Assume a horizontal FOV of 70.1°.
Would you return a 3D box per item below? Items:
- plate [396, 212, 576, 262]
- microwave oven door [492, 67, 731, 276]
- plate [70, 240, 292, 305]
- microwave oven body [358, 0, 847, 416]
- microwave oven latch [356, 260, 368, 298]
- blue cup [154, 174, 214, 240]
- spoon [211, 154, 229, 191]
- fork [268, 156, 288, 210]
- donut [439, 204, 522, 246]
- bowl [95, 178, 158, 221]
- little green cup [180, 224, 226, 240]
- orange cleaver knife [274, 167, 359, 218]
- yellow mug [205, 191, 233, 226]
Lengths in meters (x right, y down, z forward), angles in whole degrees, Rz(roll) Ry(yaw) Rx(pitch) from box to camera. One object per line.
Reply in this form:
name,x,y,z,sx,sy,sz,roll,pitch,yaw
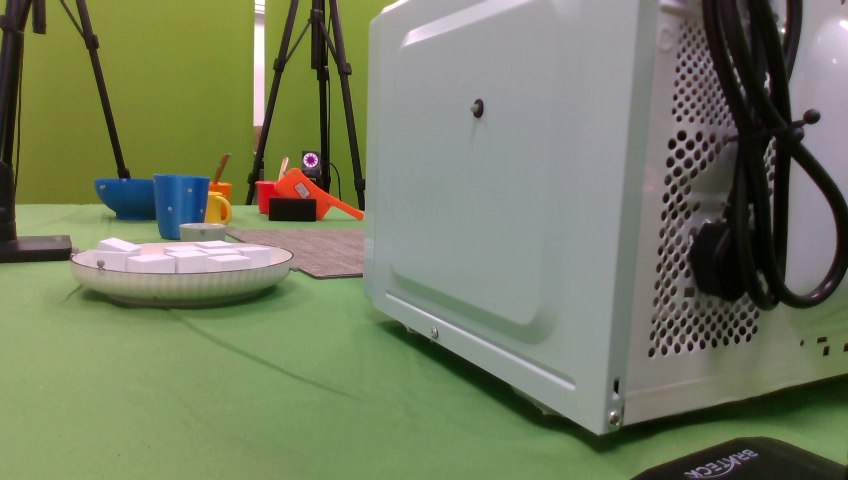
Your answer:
plate,0.070,-0.004,0.705,0.209,0.038,0.209,5,6,0
microwave oven door,0.232,-0.098,0.835,0.039,0.243,0.354,-3,9,-36
plate,-0.242,0.031,0.618,0.208,0.039,0.207,2,8,0
microwave oven body,0.211,-0.047,0.474,0.444,0.260,0.324,-1,7,-28
microwave oven latch,-0.019,0.033,0.529,0.079,0.029,0.030,0,7,-24
blue cup,-0.391,-0.053,0.978,0.093,0.100,0.092,4,6,0
spoon,-0.431,-0.115,1.253,0.042,0.193,0.021,-3,54,-33
fork,-0.360,-0.144,1.508,0.028,0.018,0.207,1,49,0
donut,0.065,-0.016,0.706,0.099,0.048,0.099,8,7,-1
bowl,-0.576,-0.081,1.217,0.151,0.077,0.151,3,8,0
little green cup,-0.309,-0.001,0.846,0.061,0.038,0.061,2,8,0
orange cleaver knife,-0.238,-0.091,1.381,0.212,0.077,0.012,31,0,-19
yellow mug,-0.415,-0.057,1.132,0.130,0.064,0.100,6,8,16
